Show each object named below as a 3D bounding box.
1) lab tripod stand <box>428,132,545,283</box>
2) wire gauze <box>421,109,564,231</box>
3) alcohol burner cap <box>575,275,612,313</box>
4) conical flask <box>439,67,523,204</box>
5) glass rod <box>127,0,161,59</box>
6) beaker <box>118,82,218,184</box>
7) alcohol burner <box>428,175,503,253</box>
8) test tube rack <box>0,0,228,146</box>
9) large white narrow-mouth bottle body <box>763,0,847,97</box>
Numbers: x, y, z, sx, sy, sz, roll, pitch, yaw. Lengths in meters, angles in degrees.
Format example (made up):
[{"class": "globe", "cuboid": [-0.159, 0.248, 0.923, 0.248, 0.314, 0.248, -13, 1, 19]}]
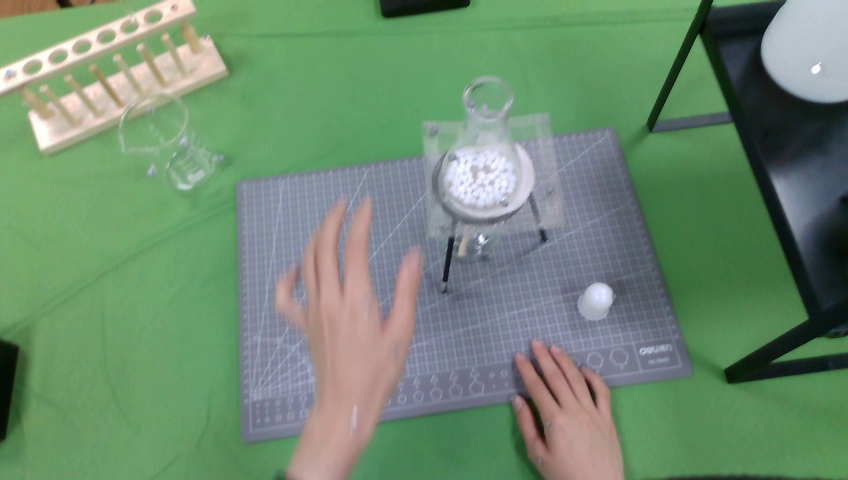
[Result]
[{"class": "lab tripod stand", "cuboid": [0.056, -0.037, 0.608, 0.148, 0.132, 0.147, -1, 65, 2]}, {"class": "wire gauze", "cuboid": [0.060, -0.068, 0.549, 0.121, 0.011, 0.124, -2, 65, -1]}, {"class": "alcohol burner cap", "cuboid": [0.173, 0.052, 0.615, 0.034, 0.048, 0.033, -1, 68, 2]}, {"class": "conical flask", "cuboid": [0.049, -0.087, 0.493, 0.075, 0.123, 0.075, -1, 67, 2]}, {"class": "glass rod", "cuboid": [-0.334, -0.275, 0.684, 0.008, 0.201, 0.008, 1, 64, -1]}, {"class": "beaker", "cuboid": [-0.283, -0.112, 0.678, 0.073, 0.101, 0.084, 37, 74, 17]}, {"class": "alcohol burner", "cuboid": [0.043, -0.033, 0.618, 0.078, 0.120, 0.077, 0, 66, 1]}, {"class": "test tube rack", "cuboid": [-0.374, -0.210, 0.731, 0.242, 0.086, 0.066, -27, 69, -9]}, {"class": "large white narrow-mouth bottle body", "cuboid": [0.337, -0.200, 0.439, 0.102, 0.196, 0.101, -1, 65, 2]}]
